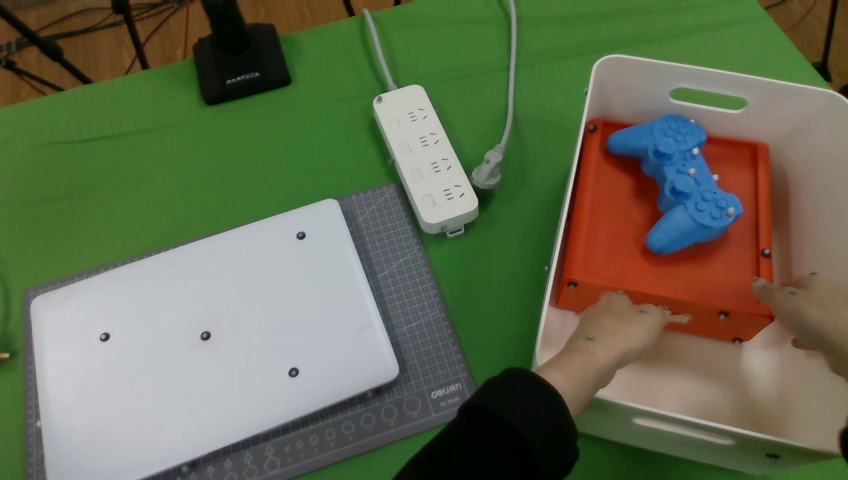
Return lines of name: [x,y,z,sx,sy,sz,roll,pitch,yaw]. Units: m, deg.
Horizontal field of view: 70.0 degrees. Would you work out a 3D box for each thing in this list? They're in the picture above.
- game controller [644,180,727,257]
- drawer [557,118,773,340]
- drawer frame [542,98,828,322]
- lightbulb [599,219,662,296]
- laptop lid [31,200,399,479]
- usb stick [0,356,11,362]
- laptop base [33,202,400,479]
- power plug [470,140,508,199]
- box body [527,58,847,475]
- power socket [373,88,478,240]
game controller: [0.258,-0.062,0.628,0.097,0.052,0.153,-8,61,-6]
drawer: [0.258,-0.015,0.650,0.194,0.074,0.210,11,67,11]
drawer frame: [0.240,-0.027,0.605,0.083,0.212,0.202,-44,101,-6]
lightbulb: [0.213,0.018,0.645,0.059,0.060,0.106,-8,48,-2]
laptop lid: [-0.227,0.104,0.641,0.357,0.013,0.239,-18,65,-8]
usb stick: [-0.472,0.120,0.642,0.059,0.021,0.027,9,61,-31]
laptop base: [-0.227,0.108,0.653,0.355,0.023,0.233,-20,66,-9]
power plug: [0.086,-0.082,0.734,0.035,0.053,0.072,37,51,24]
box body: [0.255,0.021,0.601,0.253,0.161,0.361,12,62,8]
power socket: [-0.002,-0.101,0.751,0.072,0.033,0.224,-18,62,-9]
